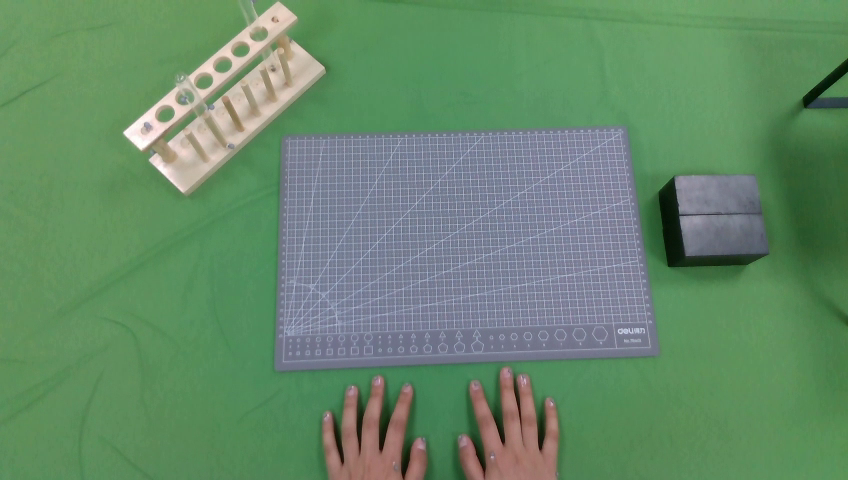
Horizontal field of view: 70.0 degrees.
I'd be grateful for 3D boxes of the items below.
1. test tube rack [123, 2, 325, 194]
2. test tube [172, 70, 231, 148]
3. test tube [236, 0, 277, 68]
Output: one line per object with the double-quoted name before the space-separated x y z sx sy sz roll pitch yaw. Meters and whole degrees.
"test tube rack" -0.237 -0.174 0.748 0.066 0.085 0.242 42 77 10
"test tube" -0.252 -0.146 0.693 0.017 0.151 0.017 0 71 1
"test tube" -0.201 -0.254 0.720 0.017 0.151 0.017 -1 70 2
